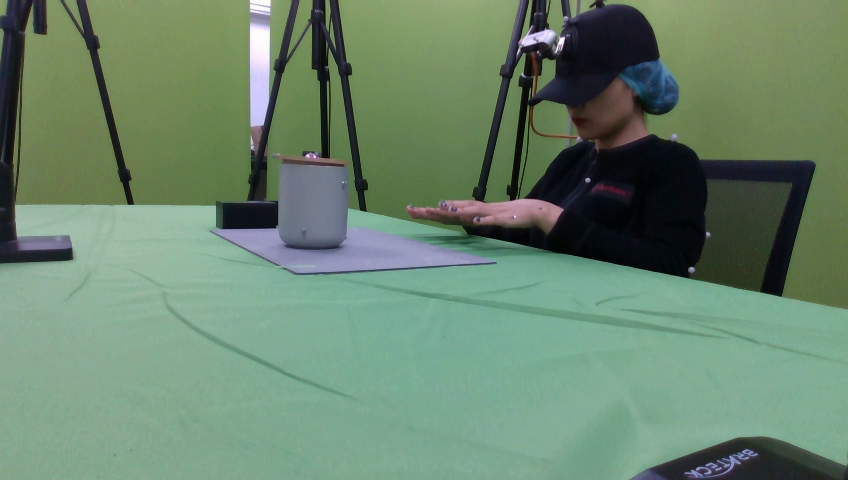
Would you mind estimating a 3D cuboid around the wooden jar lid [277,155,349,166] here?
[{"bbox_3d":[-0.170,-0.117,0.925,0.108,0.020,0.108,4,7,0],"label":"wooden jar lid"}]

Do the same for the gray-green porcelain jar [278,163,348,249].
[{"bbox_3d":[-0.171,-0.053,0.934,0.106,0.126,0.106,2,7,0],"label":"gray-green porcelain jar"}]
